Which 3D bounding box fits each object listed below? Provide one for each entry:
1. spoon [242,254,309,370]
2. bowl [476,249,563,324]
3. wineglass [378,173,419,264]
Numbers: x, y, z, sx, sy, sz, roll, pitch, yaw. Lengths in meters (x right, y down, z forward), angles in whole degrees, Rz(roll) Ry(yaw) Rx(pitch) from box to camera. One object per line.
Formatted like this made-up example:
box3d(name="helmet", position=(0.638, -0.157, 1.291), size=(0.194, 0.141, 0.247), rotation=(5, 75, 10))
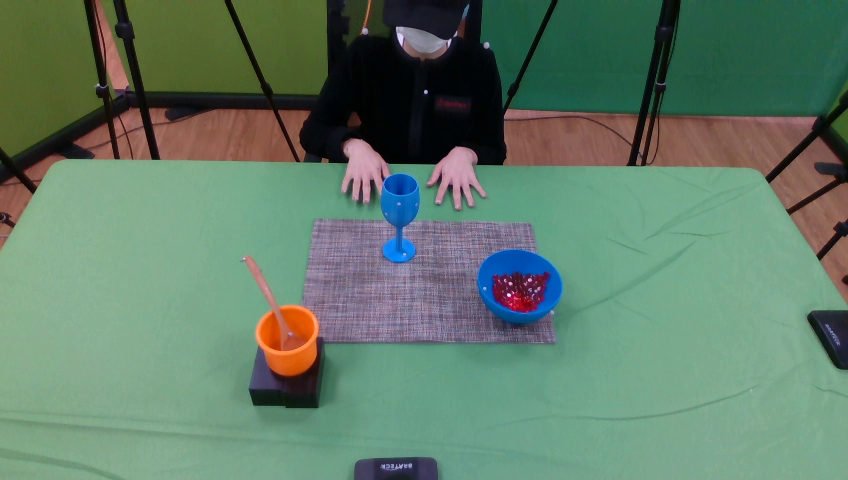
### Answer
box3d(name="spoon", position=(-0.226, 0.108, 0.918), size=(0.041, 0.194, 0.021), rotation=(-28, 9, -32))
box3d(name="bowl", position=(0.163, 0.096, 1.073), size=(0.151, 0.077, 0.150), rotation=(2, 45, -2))
box3d(name="wineglass", position=(-0.047, -0.037, 1.121), size=(0.074, 0.173, 0.073), rotation=(2, 46, -2))
